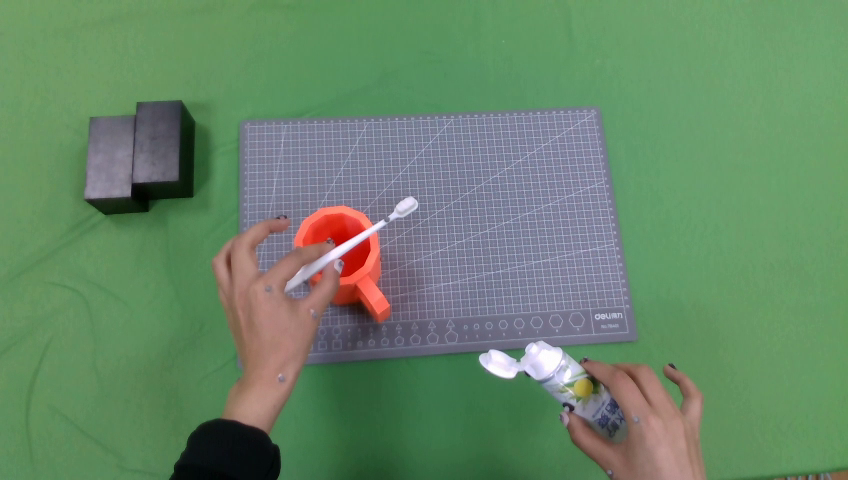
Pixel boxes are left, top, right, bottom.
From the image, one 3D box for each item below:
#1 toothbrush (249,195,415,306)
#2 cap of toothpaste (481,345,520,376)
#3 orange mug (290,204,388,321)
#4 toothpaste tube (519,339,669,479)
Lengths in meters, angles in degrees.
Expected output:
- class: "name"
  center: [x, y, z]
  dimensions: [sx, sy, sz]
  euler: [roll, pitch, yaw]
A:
- class: "toothbrush"
  center: [-0.086, 0.009, 0.571]
  dimensions: [0.182, 0.017, 0.014]
  euler: [-33, 78, -5]
- class: "cap of toothpaste"
  center: [0.066, 0.102, 0.521]
  dimensions: [0.037, 0.037, 0.011]
  euler: [23, 111, 3]
- class: "orange mug"
  center: [-0.082, 0.031, 0.650]
  dimensions: [0.083, 0.101, 0.125]
  euler: [-37, 75, -12]
- class: "toothpaste tube"
  center: [0.146, 0.145, 0.531]
  dimensions: [0.166, 0.034, 0.055]
  euler: [41, 86, -11]
